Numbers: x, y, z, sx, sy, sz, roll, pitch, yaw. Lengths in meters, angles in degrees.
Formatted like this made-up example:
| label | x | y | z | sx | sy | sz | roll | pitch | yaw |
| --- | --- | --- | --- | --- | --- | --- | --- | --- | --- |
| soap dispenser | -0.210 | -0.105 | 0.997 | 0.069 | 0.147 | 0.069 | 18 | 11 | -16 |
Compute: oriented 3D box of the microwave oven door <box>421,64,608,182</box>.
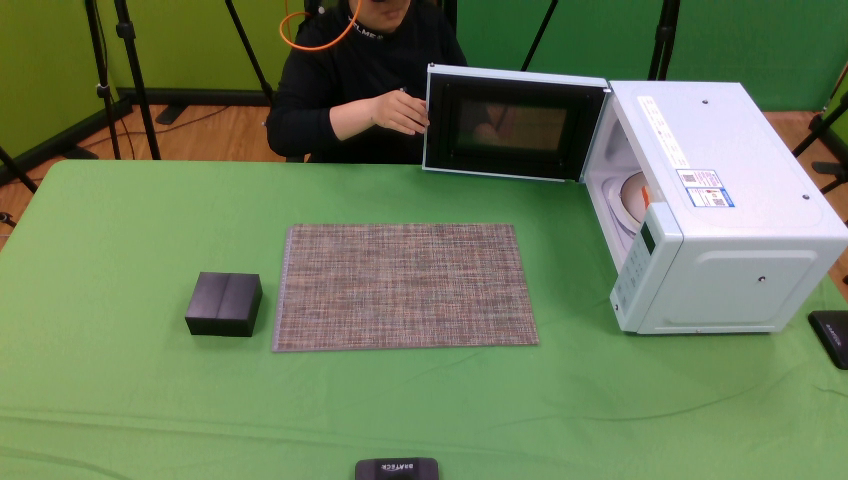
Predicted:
| label | x | y | z | sx | sy | sz | roll | pitch | yaw |
| --- | --- | --- | --- | --- | --- | --- | --- | --- | --- |
| microwave oven door | 0.177 | -0.239 | 1.266 | 0.356 | 0.245 | 0.039 | 5 | 46 | 1 |

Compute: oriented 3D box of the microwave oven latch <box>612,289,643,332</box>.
| label | x | y | z | sx | sy | sz | roll | pitch | yaw |
| --- | --- | --- | --- | --- | --- | --- | --- | --- | --- |
| microwave oven latch | 0.357 | 0.124 | 1.068 | 0.030 | 0.029 | 0.078 | 0 | 45 | -3 |

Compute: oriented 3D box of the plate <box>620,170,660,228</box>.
| label | x | y | z | sx | sy | sz | roll | pitch | yaw |
| --- | --- | --- | --- | --- | --- | --- | --- | --- | --- |
| plate | 0.490 | -0.060 | 1.195 | 0.209 | 0.038 | 0.208 | 3 | 45 | -3 |

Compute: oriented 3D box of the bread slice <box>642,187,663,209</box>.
| label | x | y | z | sx | sy | sz | roll | pitch | yaw |
| --- | --- | --- | --- | --- | --- | --- | --- | --- | --- |
| bread slice | 0.493 | -0.058 | 1.195 | 0.105 | 0.019 | 0.131 | 6 | 44 | 4 |

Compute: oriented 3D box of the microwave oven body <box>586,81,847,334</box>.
| label | x | y | z | sx | sy | sz | roll | pitch | yaw |
| --- | --- | --- | --- | --- | --- | --- | --- | --- | --- |
| microwave oven body | 0.501 | -0.070 | 1.132 | 0.326 | 0.261 | 0.438 | -1 | 45 | -3 |
